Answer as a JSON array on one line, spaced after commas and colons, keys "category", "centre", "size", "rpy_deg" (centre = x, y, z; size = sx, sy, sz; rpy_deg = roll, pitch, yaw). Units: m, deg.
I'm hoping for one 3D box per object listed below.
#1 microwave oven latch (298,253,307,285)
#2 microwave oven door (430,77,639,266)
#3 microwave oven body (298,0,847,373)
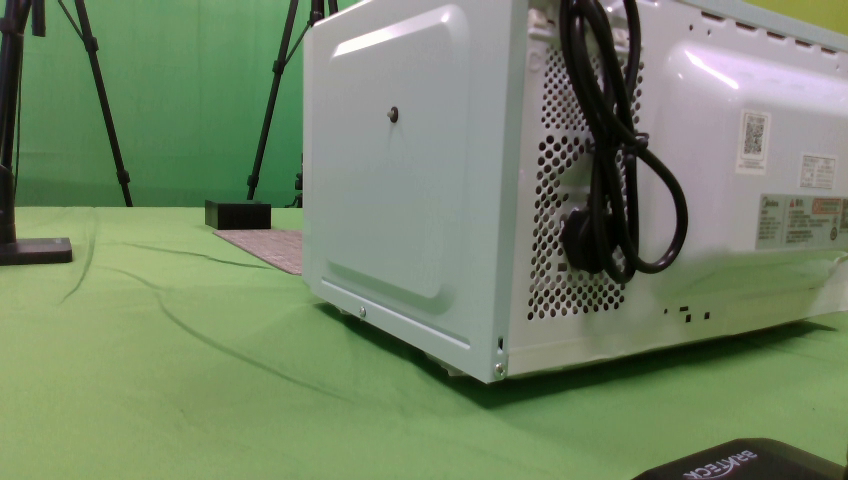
[{"category": "microwave oven latch", "centre": [-0.081, 0.027, 0.582], "size": [0.079, 0.029, 0.030], "rpy_deg": [-1, 7, -32]}, {"category": "microwave oven door", "centre": [0.143, -0.106, 0.903], "size": [0.039, 0.243, 0.354], "rpy_deg": [-4, 9, -41]}, {"category": "microwave oven body", "centre": [0.151, -0.055, 0.543], "size": [0.444, 0.260, 0.324], "rpy_deg": [-1, 7, -33]}]
